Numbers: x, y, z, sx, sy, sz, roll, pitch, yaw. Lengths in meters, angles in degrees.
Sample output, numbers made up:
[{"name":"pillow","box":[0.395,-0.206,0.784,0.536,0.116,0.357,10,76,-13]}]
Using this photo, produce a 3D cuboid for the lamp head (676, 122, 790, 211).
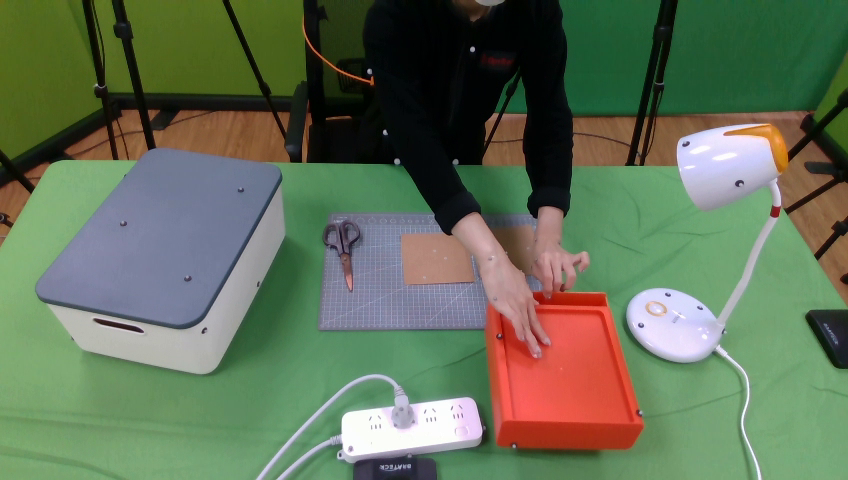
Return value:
[{"name":"lamp head","box":[0.423,-0.104,0.819,0.122,0.113,0.112,-13,33,40]}]

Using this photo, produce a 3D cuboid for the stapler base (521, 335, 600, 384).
[{"name":"stapler base","box":[0.218,0.181,0.956,0.130,0.024,0.041,26,29,10]}]

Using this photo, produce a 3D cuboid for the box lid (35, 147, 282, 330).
[{"name":"box lid","box":[-0.411,-0.023,0.987,0.263,0.015,0.369,10,47,5]}]

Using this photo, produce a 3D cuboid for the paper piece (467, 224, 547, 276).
[{"name":"paper piece","box":[0.163,0.019,1.199,0.136,0.009,0.137,-1,46,-9]}]

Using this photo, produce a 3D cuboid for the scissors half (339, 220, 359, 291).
[{"name":"scissors half","box":[-0.144,0.026,1.162,0.040,0.013,0.174,-8,50,2]}]

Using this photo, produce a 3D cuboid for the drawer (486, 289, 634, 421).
[{"name":"drawer","box":[0.202,0.178,0.938,0.194,0.073,0.210,2,46,-3]}]

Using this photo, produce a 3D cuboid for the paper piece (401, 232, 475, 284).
[{"name":"paper piece","box":[0.025,0.032,1.175,0.135,0.004,0.135,0,46,-5]}]

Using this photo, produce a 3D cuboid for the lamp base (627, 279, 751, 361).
[{"name":"lamp base","box":[0.460,0.100,1.027,0.178,0.181,0.160,27,51,17]}]

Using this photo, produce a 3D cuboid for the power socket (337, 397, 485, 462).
[{"name":"power socket","box":[-0.018,0.285,0.915,0.227,0.033,0.071,-5,46,-8]}]

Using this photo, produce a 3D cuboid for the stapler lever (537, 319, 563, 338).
[{"name":"stapler lever","box":[0.226,0.162,0.946,0.118,0.040,0.027,23,29,12]}]

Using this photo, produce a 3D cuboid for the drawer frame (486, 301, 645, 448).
[{"name":"drawer frame","box":[0.204,0.199,0.923,0.202,0.083,0.212,2,44,-3]}]

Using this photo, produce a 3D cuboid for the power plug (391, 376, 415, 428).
[{"name":"power plug","box":[-0.031,0.249,0.917,0.035,0.053,0.072,3,46,-1]}]

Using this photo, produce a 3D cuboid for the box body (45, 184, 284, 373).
[{"name":"box body","box":[-0.414,0.029,1.040,0.254,0.161,0.362,10,46,5]}]

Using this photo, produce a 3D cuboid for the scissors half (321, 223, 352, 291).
[{"name":"scissors half","box":[-0.163,0.031,1.160,0.040,0.013,0.174,-17,51,-13]}]
